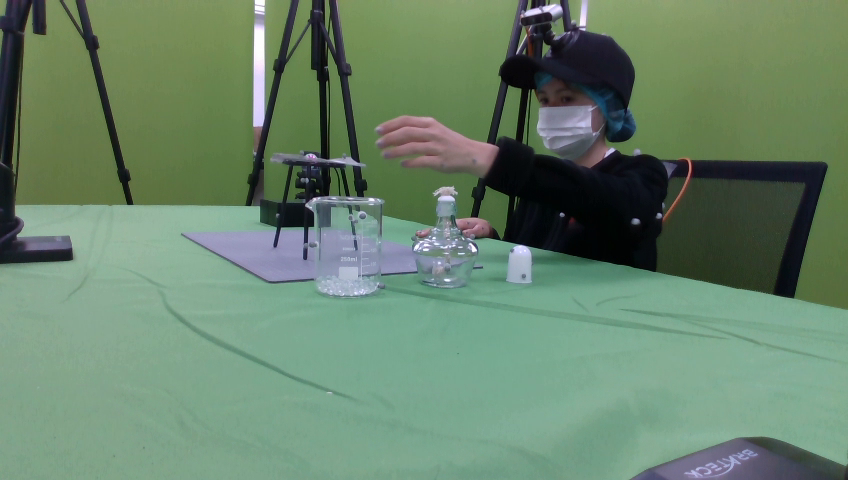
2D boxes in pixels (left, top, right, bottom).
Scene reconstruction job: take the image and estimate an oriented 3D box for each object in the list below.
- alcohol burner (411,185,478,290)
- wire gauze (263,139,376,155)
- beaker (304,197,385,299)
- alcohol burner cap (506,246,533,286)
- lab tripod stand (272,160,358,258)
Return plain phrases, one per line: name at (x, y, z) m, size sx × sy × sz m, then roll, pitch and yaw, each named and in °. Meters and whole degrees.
alcohol burner at (0.024, -0.004, 0.697) m, size 0.078 × 0.119 × 0.078 m, roll 0°, pitch 7°, yaw 0°
wire gauze at (-0.151, -0.130, 0.869) m, size 0.122 × 0.011 × 0.124 m, roll -8°, pitch 5°, yaw -35°
beaker at (-0.083, 0.007, 0.628) m, size 0.084 × 0.100 × 0.073 m, roll -1°, pitch 7°, yaw -21°
alcohol burner cap at (0.118, 0.032, 0.739) m, size 0.034 × 0.048 × 0.034 m, roll 1°, pitch 8°, yaw 0°
lab tripod stand at (-0.159, -0.048, 0.876) m, size 0.148 × 0.131 × 0.148 m, roll 3°, pitch 5°, yaw 0°
